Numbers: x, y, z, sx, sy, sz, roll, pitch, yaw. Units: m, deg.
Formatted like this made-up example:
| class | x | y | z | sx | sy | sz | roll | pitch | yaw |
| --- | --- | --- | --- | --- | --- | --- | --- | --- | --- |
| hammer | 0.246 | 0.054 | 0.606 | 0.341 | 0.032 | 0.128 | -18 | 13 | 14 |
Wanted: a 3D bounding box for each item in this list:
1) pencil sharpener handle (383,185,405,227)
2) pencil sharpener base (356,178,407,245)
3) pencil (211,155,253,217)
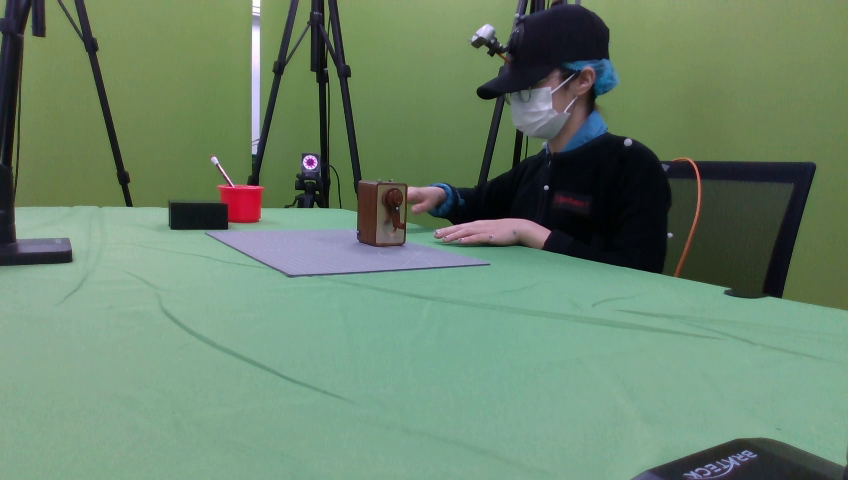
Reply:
| class | x | y | z | sx | sy | sz | roll | pitch | yaw |
| --- | --- | --- | --- | --- | --- | --- | --- | --- | --- |
| pencil sharpener handle | -0.043 | -0.054 | 0.975 | 0.036 | 0.067 | 0.030 | -9 | 13 | -31 |
| pencil sharpener base | -0.071 | -0.049 | 1.018 | 0.062 | 0.107 | 0.076 | -2 | 9 | -32 |
| pencil | -0.422 | -0.120 | 1.331 | 0.012 | 0.012 | 0.193 | -8 | 53 | -52 |
